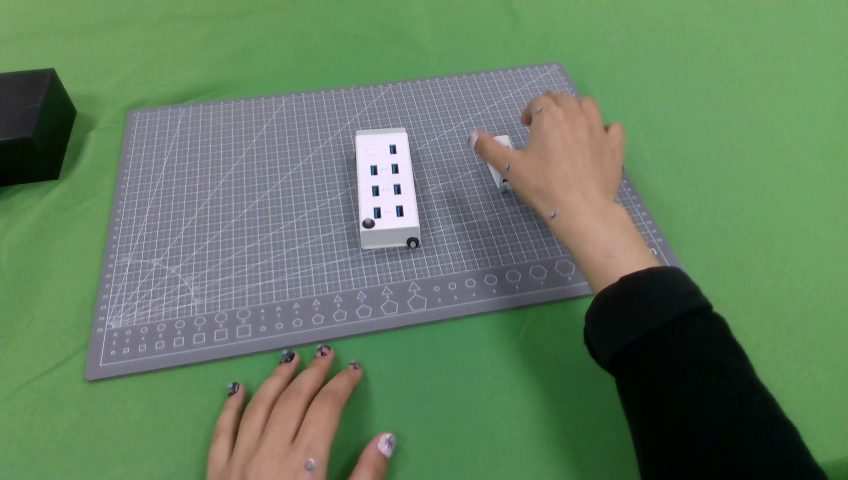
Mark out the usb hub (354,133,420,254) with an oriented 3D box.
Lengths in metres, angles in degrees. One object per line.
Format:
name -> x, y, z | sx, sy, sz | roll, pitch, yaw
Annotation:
usb hub -> -0.034, -0.043, 0.524 | 0.049, 0.025, 0.124 | -4, 50, -4

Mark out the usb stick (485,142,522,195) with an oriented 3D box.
usb stick -> 0.069, -0.069, 0.546 | 0.021, 0.027, 0.058 | -8, 47, -8
